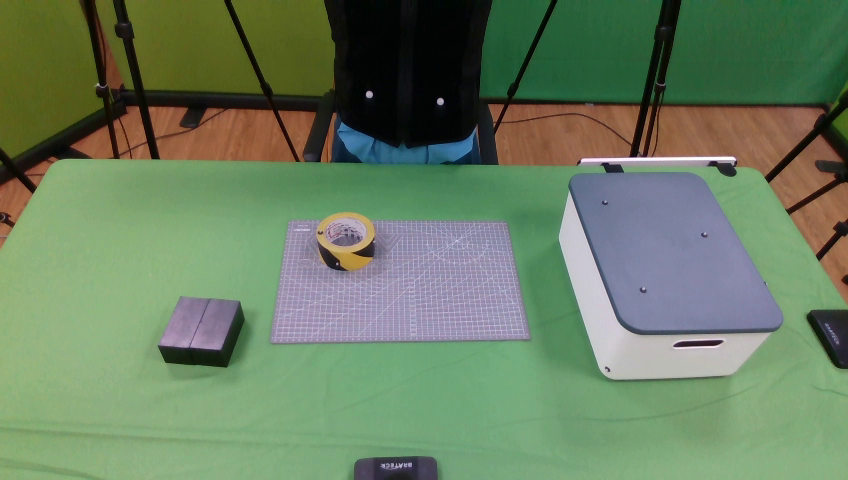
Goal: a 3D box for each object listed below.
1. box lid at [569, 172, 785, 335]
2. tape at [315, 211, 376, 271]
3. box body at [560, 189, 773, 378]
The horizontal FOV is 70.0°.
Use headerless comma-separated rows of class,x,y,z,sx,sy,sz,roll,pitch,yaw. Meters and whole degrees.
box lid,0.408,0.007,1.019,0.263,0.015,0.369,-1,46,-5
tape,-0.150,0.000,1.160,0.117,0.053,0.116,3,46,-3
box body,0.405,0.057,1.074,0.254,0.161,0.361,-1,46,-5
